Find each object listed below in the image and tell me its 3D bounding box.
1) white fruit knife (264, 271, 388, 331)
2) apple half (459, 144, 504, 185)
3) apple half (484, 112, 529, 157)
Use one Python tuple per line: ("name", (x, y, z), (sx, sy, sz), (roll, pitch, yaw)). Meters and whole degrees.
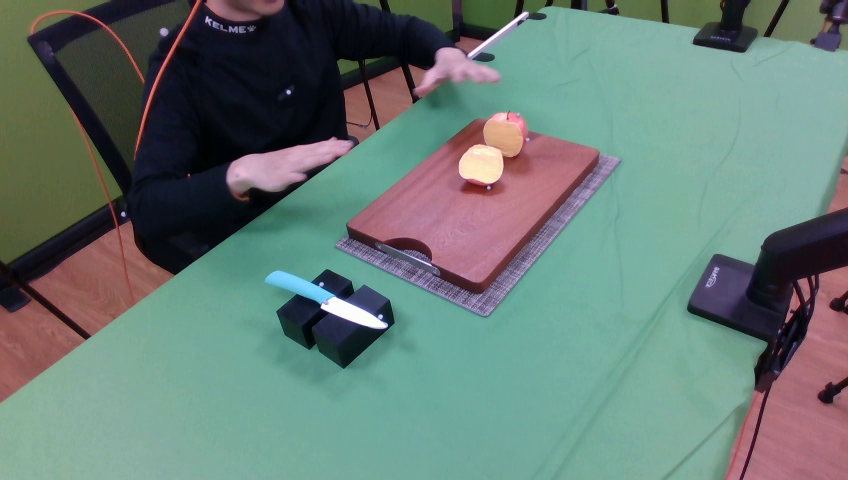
("white fruit knife", (-0.134, 0.082, 0.824), (0.206, 0.016, 0.027), (20, 71, 25))
("apple half", (0.102, -0.125, 1.040), (0.081, 0.033, 0.081), (-3, 65, 7))
("apple half", (0.154, -0.195, 1.090), (0.080, 0.075, 0.053), (13, 40, 28))
